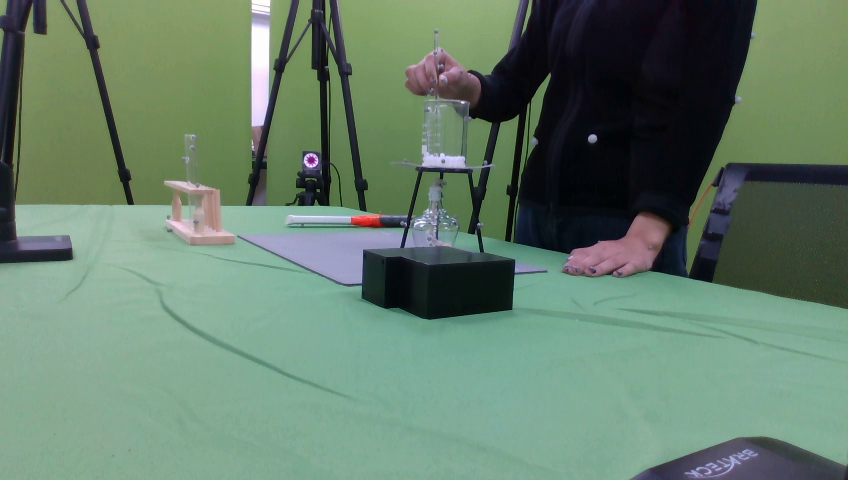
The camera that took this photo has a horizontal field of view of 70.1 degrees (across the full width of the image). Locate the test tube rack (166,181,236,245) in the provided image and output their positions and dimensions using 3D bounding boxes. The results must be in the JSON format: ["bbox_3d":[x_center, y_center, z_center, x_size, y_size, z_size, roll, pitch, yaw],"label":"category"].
[{"bbox_3d":[-0.383,-0.051,1.024,0.067,0.085,0.241,-2,9,-31],"label":"test tube rack"}]

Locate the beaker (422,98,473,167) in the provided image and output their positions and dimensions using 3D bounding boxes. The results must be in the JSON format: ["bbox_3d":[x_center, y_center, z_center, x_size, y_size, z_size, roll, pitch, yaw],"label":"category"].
[{"bbox_3d":[0.031,-0.162,0.919,0.074,0.100,0.083,-4,9,-36],"label":"beaker"}]

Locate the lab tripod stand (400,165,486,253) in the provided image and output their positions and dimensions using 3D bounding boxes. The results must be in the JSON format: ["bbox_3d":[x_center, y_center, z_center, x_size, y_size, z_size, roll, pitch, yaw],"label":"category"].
[{"bbox_3d":[0.028,-0.049,0.930,0.148,0.131,0.148,2,9,0],"label":"lab tripod stand"}]

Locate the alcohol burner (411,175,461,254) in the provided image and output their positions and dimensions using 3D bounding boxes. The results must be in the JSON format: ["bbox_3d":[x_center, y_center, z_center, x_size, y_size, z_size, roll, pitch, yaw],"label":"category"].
[{"bbox_3d":[0.018,-0.040,0.931,0.078,0.119,0.078,0,7,0],"label":"alcohol burner"}]

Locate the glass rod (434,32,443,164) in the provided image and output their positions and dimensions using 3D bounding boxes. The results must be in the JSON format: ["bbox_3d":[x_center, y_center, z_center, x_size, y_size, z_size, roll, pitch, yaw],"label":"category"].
[{"bbox_3d":[0.023,-0.217,0.927,0.008,0.199,0.008,-2,4,0],"label":"glass rod"}]

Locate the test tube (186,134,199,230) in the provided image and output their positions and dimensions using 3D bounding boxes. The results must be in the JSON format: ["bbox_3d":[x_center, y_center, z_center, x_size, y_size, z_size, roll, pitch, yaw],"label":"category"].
[{"bbox_3d":[-0.360,-0.089,0.946,0.017,0.150,0.017,0,10,0],"label":"test tube"}]

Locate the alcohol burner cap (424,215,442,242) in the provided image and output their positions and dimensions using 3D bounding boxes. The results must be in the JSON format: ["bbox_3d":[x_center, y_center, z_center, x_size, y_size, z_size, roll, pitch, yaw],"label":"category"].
[{"bbox_3d":[0.017,-0.022,1.098,0.034,0.048,0.034,2,9,0],"label":"alcohol burner cap"}]

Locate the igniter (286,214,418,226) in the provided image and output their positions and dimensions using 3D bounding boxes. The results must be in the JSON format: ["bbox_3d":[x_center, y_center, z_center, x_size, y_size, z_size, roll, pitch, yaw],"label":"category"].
[{"bbox_3d":[-0.145,-0.043,1.263,0.278,0.025,0.057,-1,-2,-25],"label":"igniter"}]

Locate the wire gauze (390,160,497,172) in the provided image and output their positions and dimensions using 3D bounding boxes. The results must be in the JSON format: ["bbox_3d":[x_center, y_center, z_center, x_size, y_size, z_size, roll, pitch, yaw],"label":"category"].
[{"bbox_3d":[0.028,-0.114,0.920,0.122,0.011,0.124,-5,13,-34],"label":"wire gauze"}]
